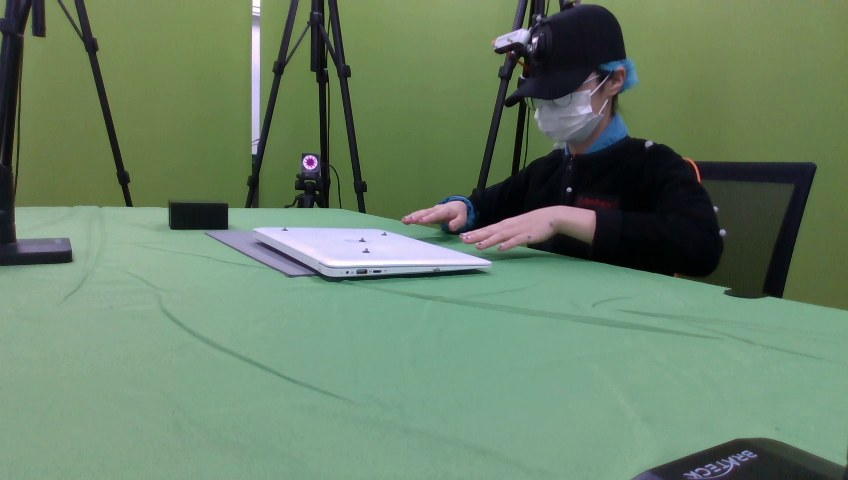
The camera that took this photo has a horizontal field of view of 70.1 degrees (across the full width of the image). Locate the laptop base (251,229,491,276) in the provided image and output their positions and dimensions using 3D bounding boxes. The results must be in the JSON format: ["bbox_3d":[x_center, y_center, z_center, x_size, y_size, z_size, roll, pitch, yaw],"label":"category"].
[{"bbox_3d":[-0.095,0.015,0.888,0.237,0.023,0.352,2,7,-30],"label":"laptop base"}]

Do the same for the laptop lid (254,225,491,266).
[{"bbox_3d":[-0.093,0.003,0.888,0.243,0.013,0.355,1,8,-28],"label":"laptop lid"}]
